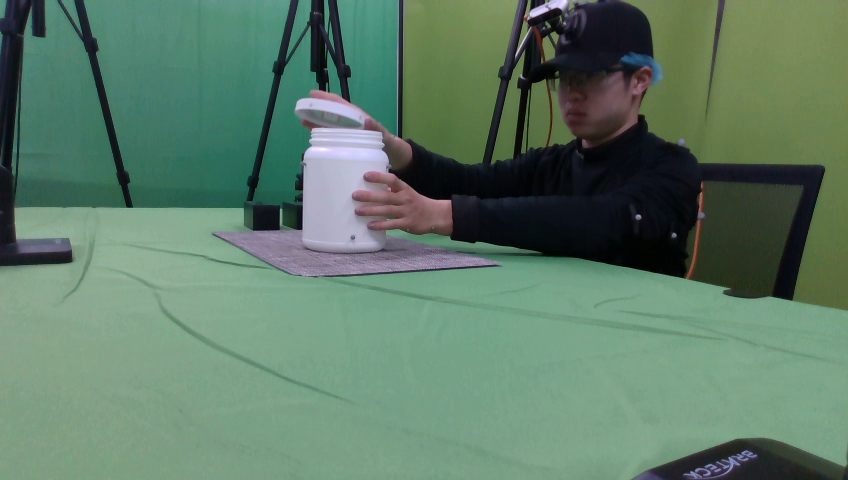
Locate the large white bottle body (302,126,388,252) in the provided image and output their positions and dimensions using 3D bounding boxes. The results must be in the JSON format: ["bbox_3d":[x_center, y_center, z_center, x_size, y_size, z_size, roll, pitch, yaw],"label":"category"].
[{"bbox_3d":[-0.122,-0.080,0.937,0.131,0.184,0.130,2,7,0],"label":"large white bottle body"}]

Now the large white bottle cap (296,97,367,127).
[{"bbox_3d":[-0.150,-0.208,0.989,0.115,0.018,0.115,9,-3,1],"label":"large white bottle cap"}]
